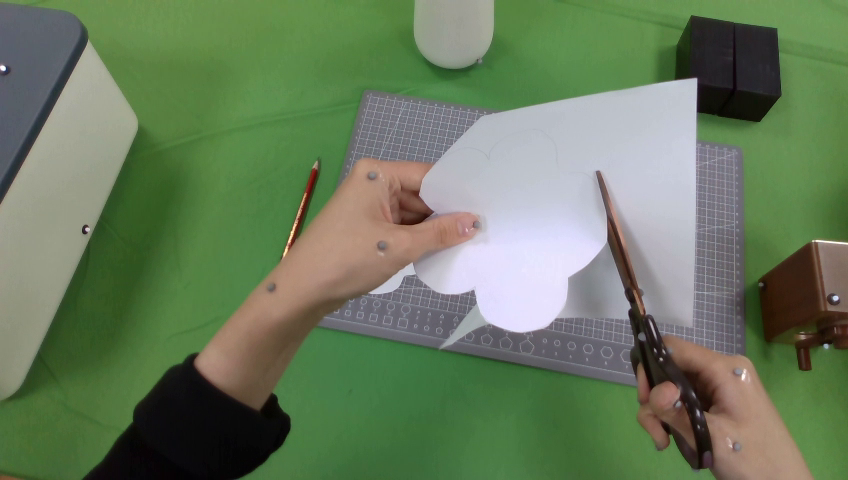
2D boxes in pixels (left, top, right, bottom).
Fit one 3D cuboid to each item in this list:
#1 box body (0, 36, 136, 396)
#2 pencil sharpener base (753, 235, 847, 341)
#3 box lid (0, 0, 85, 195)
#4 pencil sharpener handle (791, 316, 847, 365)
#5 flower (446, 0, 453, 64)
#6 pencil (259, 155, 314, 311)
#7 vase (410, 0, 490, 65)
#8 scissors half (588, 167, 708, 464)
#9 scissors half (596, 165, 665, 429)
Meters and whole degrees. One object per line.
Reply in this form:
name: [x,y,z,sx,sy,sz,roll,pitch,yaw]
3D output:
box body: [-0.481,-0.046,0.593,0.254,0.161,0.361,10,67,5]
pencil sharpener base: [0.371,0.052,0.578,0.061,0.108,0.076,5,67,3]
box lid: [-0.482,-0.078,0.525,0.263,0.015,0.369,10,67,4]
pencil sharpener handle: [0.362,0.093,0.547,0.036,0.068,0.030,11,66,-10]
flower: [0.024,-0.338,0.606,0.044,0.365,0.038,3,49,5]
pencil: [-0.146,-0.014,0.663,0.012,0.012,0.192,10,65,5]
vase: [0.030,-0.291,0.677,0.098,0.201,0.097,-1,65,1]
scissors half: [0.123,0.040,0.339,0.013,0.040,0.174,-19,84,-2]
scissors half: [0.123,0.038,0.361,0.013,0.039,0.176,-18,111,3]
